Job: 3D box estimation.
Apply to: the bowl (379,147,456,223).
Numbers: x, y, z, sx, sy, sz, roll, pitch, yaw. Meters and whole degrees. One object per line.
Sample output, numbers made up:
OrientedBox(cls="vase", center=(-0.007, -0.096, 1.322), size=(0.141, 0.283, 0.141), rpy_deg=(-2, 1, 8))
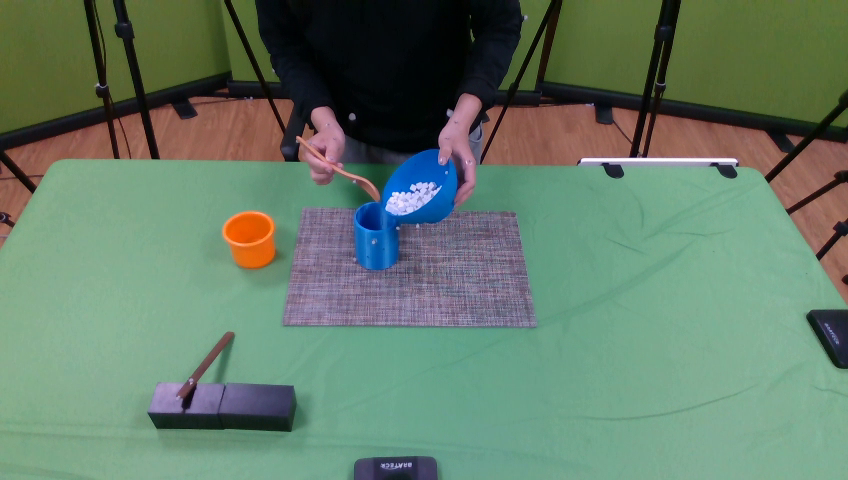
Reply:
OrientedBox(cls="bowl", center=(0.002, -0.083, 1.079), size=(0.151, 0.077, 0.150), rpy_deg=(-23, 44, 25))

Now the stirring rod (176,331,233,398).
OrientedBox(cls="stirring rod", center=(-0.342, 0.192, 0.955), size=(0.014, 0.006, 0.175), rpy_deg=(3, 24, 7))

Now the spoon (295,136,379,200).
OrientedBox(cls="spoon", center=(-0.156, -0.130, 1.081), size=(0.193, 0.042, 0.021), rpy_deg=(33, 76, 5))

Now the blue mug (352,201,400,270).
OrientedBox(cls="blue mug", center=(-0.082, -0.017, 1.144), size=(0.082, 0.106, 0.116), rpy_deg=(30, 51, 22))
